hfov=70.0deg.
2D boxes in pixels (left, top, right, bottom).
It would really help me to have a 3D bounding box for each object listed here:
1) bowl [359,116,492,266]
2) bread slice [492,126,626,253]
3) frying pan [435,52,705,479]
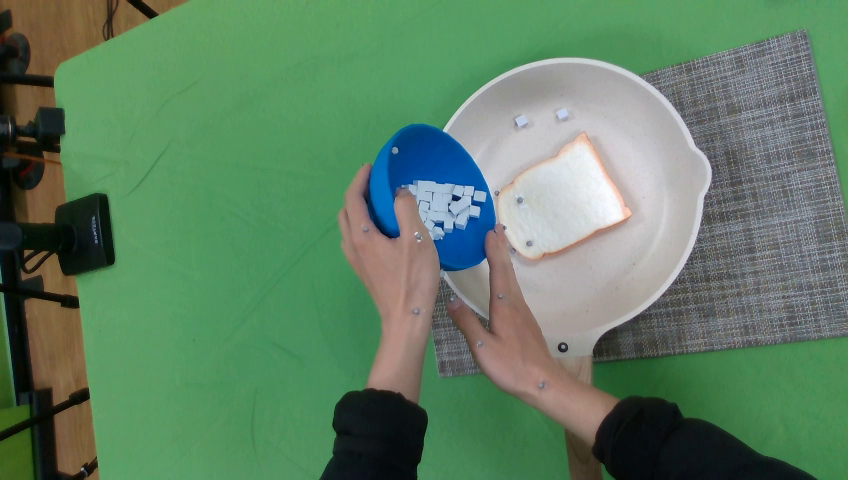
[{"bbox_3d":[-0.011,-0.037,0.601,0.076,0.152,0.151,-24,79,40],"label":"bowl"},{"bbox_3d":[0.144,-0.046,0.681,0.134,0.018,0.106,-33,77,16],"label":"bread slice"},{"bbox_3d":[0.142,0.053,0.636,0.306,0.103,0.485,-8,78,24],"label":"frying pan"}]
